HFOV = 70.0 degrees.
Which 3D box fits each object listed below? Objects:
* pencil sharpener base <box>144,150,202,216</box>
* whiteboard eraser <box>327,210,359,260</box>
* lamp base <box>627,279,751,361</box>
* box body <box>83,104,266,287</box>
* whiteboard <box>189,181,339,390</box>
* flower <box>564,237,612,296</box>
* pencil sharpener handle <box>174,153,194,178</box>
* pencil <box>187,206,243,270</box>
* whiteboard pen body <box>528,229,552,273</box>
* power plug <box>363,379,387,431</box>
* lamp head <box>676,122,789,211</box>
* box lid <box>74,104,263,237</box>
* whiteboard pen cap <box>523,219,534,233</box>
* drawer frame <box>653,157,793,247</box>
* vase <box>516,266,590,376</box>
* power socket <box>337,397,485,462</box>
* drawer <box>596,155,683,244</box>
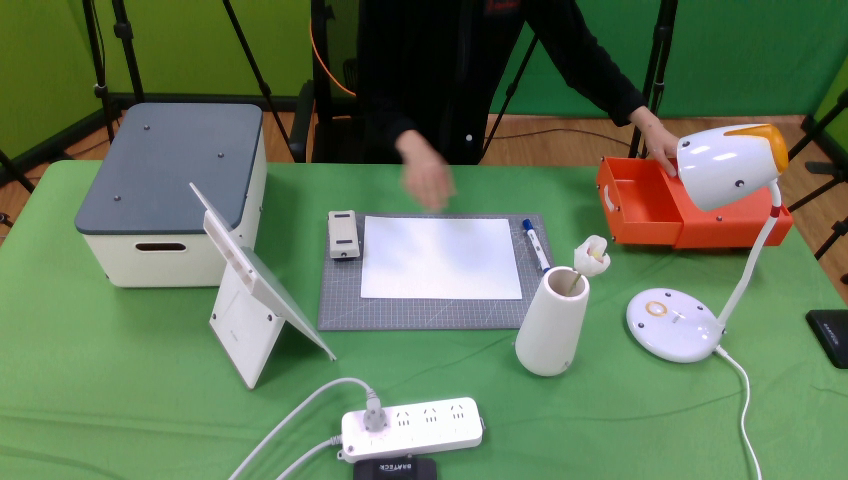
[{"bbox_3d":[-0.493,-0.113,1.199,0.061,0.107,0.076,15,46,12],"label":"pencil sharpener base"},{"bbox_3d":[-0.159,-0.009,1.177,0.055,0.042,0.112,-6,47,-7],"label":"whiteboard eraser"},{"bbox_3d":[0.460,0.100,1.027,0.178,0.181,0.160,27,51,17],"label":"lamp base"},{"bbox_3d":[-0.447,-0.088,1.150,0.254,0.161,0.361,-1,46,-5],"label":"box body"},{"bbox_3d":[-0.292,0.096,0.929,0.144,0.307,0.216,-37,57,-10],"label":"whiteboard"},{"bbox_3d":[0.206,0.088,0.893,0.038,0.363,0.044,-17,67,-9],"label":"flower"},{"bbox_3d":[-0.479,-0.156,1.225,0.036,0.068,0.030,24,47,2],"label":"pencil sharpener handle"},{"bbox_3d":[-0.401,-0.008,1.176,0.012,0.012,0.193,15,44,10],"label":"pencil"},{"bbox_3d":[0.224,0.013,1.197,0.017,0.017,0.140,-5,45,-9],"label":"whiteboard pen body"},{"bbox_3d":[-0.072,0.252,0.910,0.035,0.053,0.072,3,45,-1],"label":"power plug"},{"bbox_3d":[0.423,-0.104,0.819,0.122,0.113,0.112,-13,33,40],"label":"lamp head"},{"bbox_3d":[-0.443,-0.139,1.095,0.263,0.015,0.369,-1,45,-5],"label":"box lid"},{"bbox_3d":[0.214,-0.027,1.239,0.018,0.018,0.033,-5,45,-9],"label":"whiteboard pen cap"},{"bbox_3d":[0.578,-0.080,1.215,0.214,0.083,0.200,-1,45,-2],"label":"drawer frame"},{"bbox_3d":[0.208,0.132,0.964,0.098,0.201,0.097,3,46,-3],"label":"vase"},{"bbox_3d":[-0.018,0.285,0.915,0.227,0.033,0.071,-5,46,-8],"label":"power socket"},{"bbox_3d":[0.468,-0.081,1.211,0.212,0.073,0.193,2,45,-3],"label":"drawer"}]
